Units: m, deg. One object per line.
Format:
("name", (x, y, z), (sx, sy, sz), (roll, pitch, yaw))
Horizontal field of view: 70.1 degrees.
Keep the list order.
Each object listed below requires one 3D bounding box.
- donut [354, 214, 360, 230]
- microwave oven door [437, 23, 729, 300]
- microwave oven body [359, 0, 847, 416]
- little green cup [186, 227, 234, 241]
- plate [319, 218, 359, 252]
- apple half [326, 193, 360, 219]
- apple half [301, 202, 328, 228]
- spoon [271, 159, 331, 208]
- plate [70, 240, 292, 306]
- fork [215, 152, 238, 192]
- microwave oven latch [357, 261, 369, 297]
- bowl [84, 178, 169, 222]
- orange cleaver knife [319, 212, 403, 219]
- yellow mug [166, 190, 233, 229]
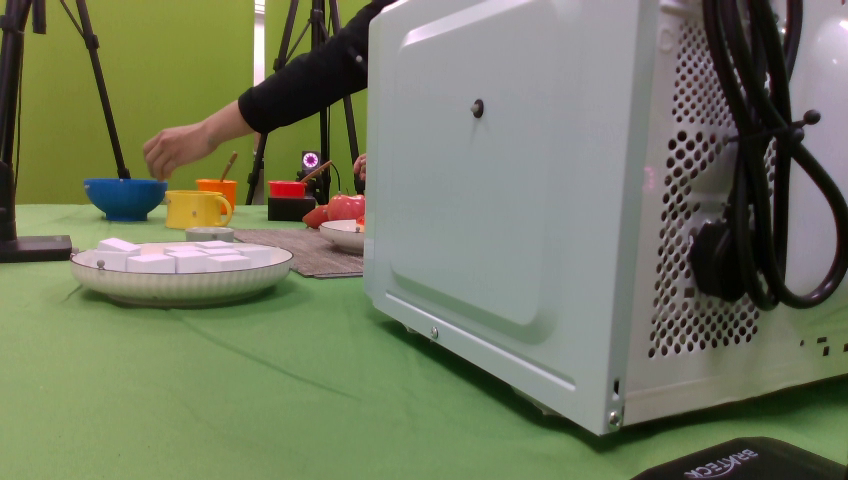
("donut", (-0.062, -0.020, 0.956), (0.099, 0.048, 0.099), (5, 7, 0))
("microwave oven door", (0.181, -0.072, 0.621), (0.358, 0.243, 0.039), (-2, 9, -29))
("microwave oven body", (0.211, -0.047, 0.474), (0.444, 0.260, 0.324), (-1, 7, -28))
("little green cup", (-0.285, 0.005, 0.805), (0.061, 0.038, 0.061), (2, 8, 0))
("plate", (-0.059, -0.007, 0.939), (0.209, 0.038, 0.209), (3, 8, 0))
("apple half", (-0.135, -0.047, 1.090), (0.081, 0.074, 0.053), (4, 11, -12))
("apple half", (-0.194, -0.043, 1.173), (0.081, 0.032, 0.081), (-22, -16, -6))
("spoon", (-0.307, -0.141, 1.513), (0.193, 0.021, 0.041), (-42, 1, 8))
("plate", (-0.242, 0.032, 0.618), (0.208, 0.039, 0.207), (3, 8, 0))
("fork", (-0.455, -0.132, 1.367), (0.028, 0.018, 0.207), (-3, -34, -38))
("microwave oven latch", (-0.019, 0.033, 0.530), (0.079, 0.029, 0.030), (-1, 7, -27))
("bowl", (-0.585, -0.078, 1.193), (0.151, 0.077, 0.151), (4, 8, 0))
("orange cleaver knife", (-0.142, -0.056, 1.394), (0.077, 0.012, 0.212), (4, 7, 44))
("yellow mug", (-0.415, -0.057, 1.132), (0.130, 0.064, 0.100), (5, 8, 16))
